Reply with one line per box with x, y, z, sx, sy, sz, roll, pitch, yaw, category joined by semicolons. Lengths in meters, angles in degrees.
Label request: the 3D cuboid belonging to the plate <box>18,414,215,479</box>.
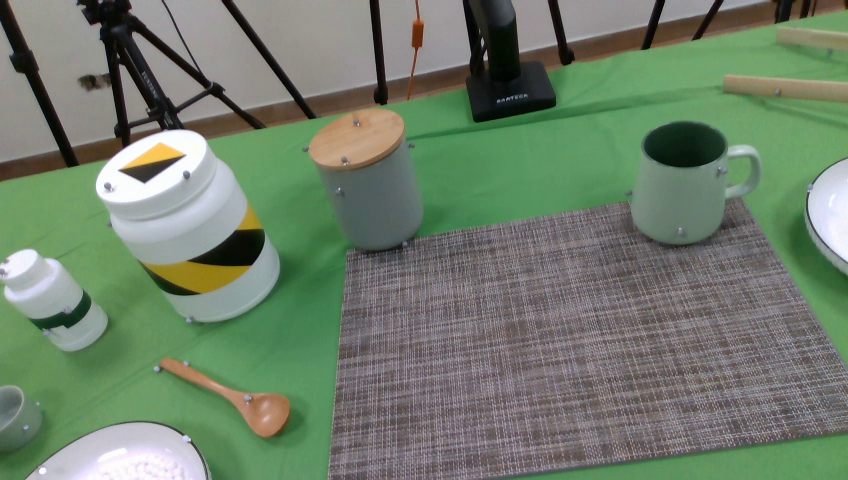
-0.273;0.250;0.514;0.209;0.038;0.207;-7;45;8;plate

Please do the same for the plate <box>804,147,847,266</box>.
0.476;-0.020;0.574;0.207;0.039;0.205;-8;45;8;plate

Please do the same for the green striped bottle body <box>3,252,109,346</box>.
-0.416;0.060;0.678;0.063;0.120;0.062;-8;45;8;green striped bottle body

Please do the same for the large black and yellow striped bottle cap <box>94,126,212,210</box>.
-0.270;-0.074;0.605;0.115;0.019;0.114;-7;44;7;large black and yellow striped bottle cap

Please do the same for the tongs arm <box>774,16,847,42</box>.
0.588;-0.223;0.707;0.051;0.027;0.380;-36;40;-20;tongs arm

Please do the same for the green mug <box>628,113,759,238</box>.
0.276;-0.067;0.621;0.125;0.106;0.091;-10;45;6;green mug

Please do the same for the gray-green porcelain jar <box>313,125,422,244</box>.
-0.062;-0.067;0.699;0.106;0.128;0.105;-8;41;7;gray-green porcelain jar

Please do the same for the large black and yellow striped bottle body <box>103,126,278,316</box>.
-0.252;-0.018;0.664;0.130;0.186;0.129;-7;45;8;large black and yellow striped bottle body

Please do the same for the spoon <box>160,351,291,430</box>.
-0.205;0.142;0.611;0.192;0.022;0.041;16;71;27;spoon

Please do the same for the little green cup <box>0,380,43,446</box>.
-0.429;0.180;0.624;0.061;0.039;0.061;-7;45;8;little green cup

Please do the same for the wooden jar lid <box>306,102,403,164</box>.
-0.074;-0.113;0.658;0.108;0.021;0.107;-10;43;10;wooden jar lid

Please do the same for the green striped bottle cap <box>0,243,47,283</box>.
-0.426;0.024;0.642;0.044;0.020;0.044;-6;46;7;green striped bottle cap

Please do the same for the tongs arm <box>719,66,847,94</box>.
0.532;-0.176;0.678;0.384;0.028;0.028;17;47;40;tongs arm
